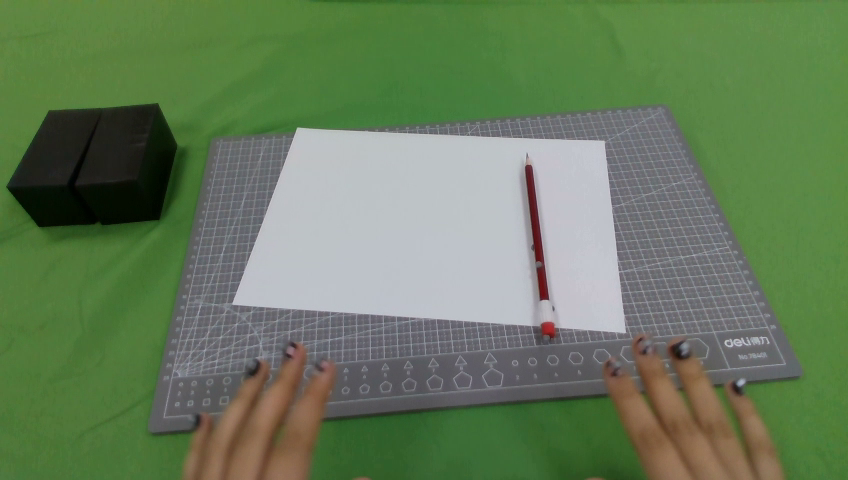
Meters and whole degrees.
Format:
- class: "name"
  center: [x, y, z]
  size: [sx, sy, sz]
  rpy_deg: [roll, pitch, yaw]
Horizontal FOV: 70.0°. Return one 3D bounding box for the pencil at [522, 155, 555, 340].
- class: "pencil"
  center: [0.091, -0.004, 0.496]
  size: [0.012, 0.012, 0.192]
  rpy_deg: [0, 51, 2]
